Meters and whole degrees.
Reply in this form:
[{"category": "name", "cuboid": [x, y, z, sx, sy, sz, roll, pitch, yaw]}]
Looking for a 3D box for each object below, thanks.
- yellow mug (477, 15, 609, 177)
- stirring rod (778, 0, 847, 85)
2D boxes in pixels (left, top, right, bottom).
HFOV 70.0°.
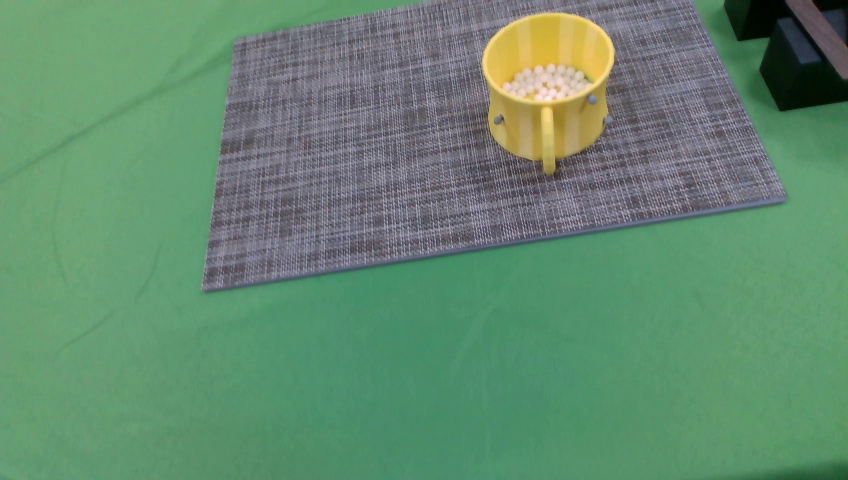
[{"category": "yellow mug", "cuboid": [0.095, -0.110, 0.482, 0.100, 0.064, 0.129, -2, 59, 10]}, {"category": "stirring rod", "cuboid": [0.285, -0.185, 0.470, 0.014, 0.006, 0.174, -32, 52, 31]}]
